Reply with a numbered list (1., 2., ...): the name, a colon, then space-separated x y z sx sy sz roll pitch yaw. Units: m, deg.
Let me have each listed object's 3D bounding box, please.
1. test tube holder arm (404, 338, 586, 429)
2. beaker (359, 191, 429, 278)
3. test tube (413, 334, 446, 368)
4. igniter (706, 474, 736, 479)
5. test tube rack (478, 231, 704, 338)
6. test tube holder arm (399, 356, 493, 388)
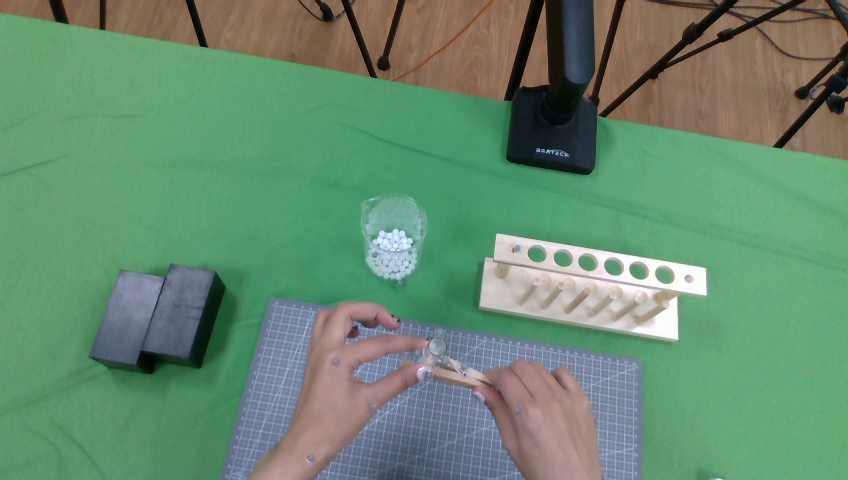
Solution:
1. test tube holder arm: 0.064 0.131 0.556 0.178 0.015 0.013 22 68 4
2. beaker: -0.039 -0.004 0.711 0.083 0.101 0.074 36 68 11
3. test tube: 0.002 0.101 0.530 0.017 0.151 0.017 2 72 -5
4. igniter: 0.294 0.383 0.617 0.057 0.025 0.275 20 66 -7
5. test tube rack: 0.192 0.055 0.715 0.242 0.085 0.066 9 66 -1
6. test tube holder arm: 0.020 0.122 0.556 0.088 0.015 0.010 12 66 0
